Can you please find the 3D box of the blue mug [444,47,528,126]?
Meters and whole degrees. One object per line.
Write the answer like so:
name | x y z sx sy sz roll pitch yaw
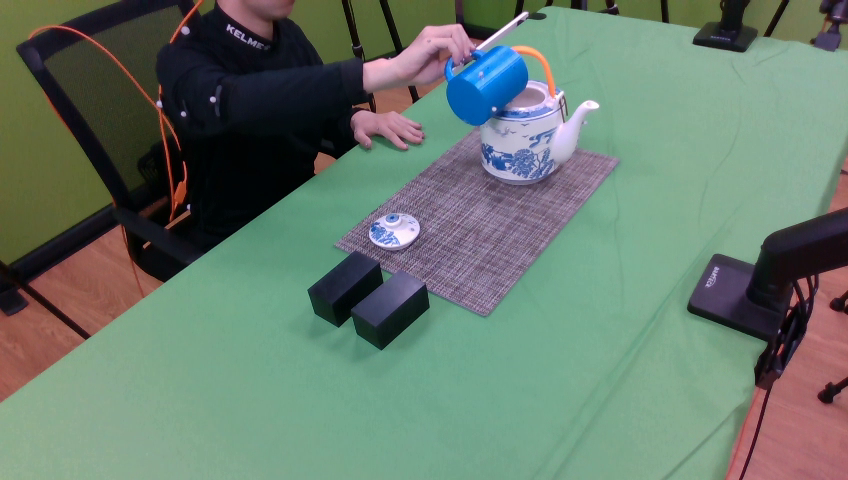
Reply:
blue mug | 0.086 -0.249 0.936 0.116 0.082 0.106 43 62 8

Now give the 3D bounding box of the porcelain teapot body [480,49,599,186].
porcelain teapot body | 0.193 -0.208 1.024 0.204 0.226 0.145 16 46 25

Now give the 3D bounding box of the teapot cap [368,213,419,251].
teapot cap | -0.050 -0.019 0.975 0.085 0.044 0.084 -4 43 4
